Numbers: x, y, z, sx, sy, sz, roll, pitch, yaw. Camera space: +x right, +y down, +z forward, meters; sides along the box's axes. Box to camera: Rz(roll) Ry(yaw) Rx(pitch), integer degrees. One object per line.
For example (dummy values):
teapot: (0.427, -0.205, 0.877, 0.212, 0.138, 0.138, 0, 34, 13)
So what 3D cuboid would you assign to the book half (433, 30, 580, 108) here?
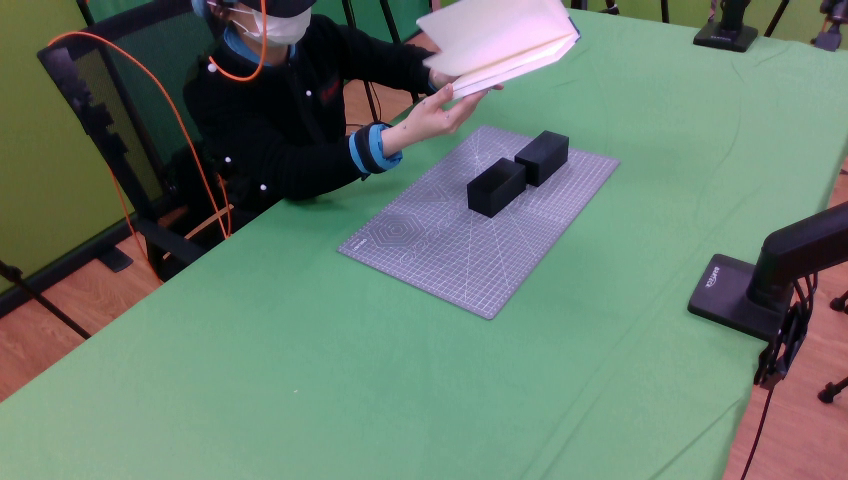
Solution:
book half: (0.125, -0.265, 0.938, 0.209, 0.016, 0.149, -13, 22, 33)

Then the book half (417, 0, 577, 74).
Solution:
book half: (0.112, -0.330, 0.935, 0.209, 0.144, 0.007, -10, 63, 33)
